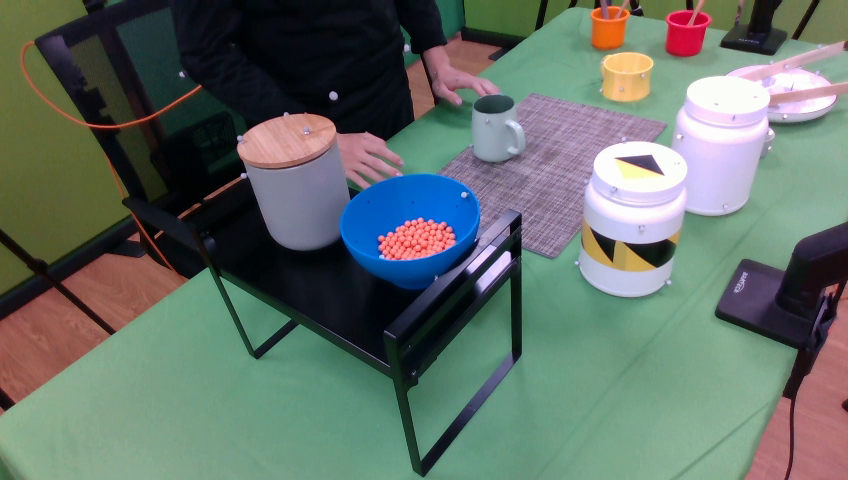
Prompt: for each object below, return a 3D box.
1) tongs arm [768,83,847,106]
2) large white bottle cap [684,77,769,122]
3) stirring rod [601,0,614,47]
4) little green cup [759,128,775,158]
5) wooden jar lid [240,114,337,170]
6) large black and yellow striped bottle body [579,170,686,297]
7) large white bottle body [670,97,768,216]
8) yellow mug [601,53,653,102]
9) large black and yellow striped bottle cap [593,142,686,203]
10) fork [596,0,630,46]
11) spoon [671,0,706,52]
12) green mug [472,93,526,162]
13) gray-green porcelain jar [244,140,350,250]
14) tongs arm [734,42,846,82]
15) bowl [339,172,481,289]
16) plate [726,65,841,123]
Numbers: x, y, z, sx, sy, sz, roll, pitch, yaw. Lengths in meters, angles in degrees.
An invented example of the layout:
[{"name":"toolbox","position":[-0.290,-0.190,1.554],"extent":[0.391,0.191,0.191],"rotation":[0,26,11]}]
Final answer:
[{"name":"tongs arm","position":[0.734,-0.280,1.133],"extent":[0.388,0.028,0.028],"rotation":[-9,46,-5]},{"name":"large white bottle cap","position":[0.448,-0.209,0.898],"extent":[0.115,0.018,0.114],"rotation":[-4,40,4]},{"name":"stirring rod","position":[0.439,-0.552,1.463],"extent":[0.014,0.006,0.175],"rotation":[-7,83,3]},{"name":"little green cup","position":[0.588,-0.175,1.080],"extent":[0.061,0.039,0.061],"rotation":[-5,40,5]},{"name":"wooden jar lid","position":[-0.149,-0.106,0.673],"extent":[0.108,0.021,0.108],"rotation":[-6,39,5]},{"name":"large black and yellow striped bottle body","position":[0.287,-0.027,0.842],"extent":[0.131,0.185,0.130],"rotation":[-4,41,4]},{"name":"large white bottle body","position":[0.458,-0.146,0.952],"extent":[0.130,0.185,0.130],"rotation":[-4,40,4]},{"name":"yellow mug","position":[0.423,-0.354,1.292],"extent":[0.100,0.064,0.129],"rotation":[-23,42,-16]},{"name":"large black and yellow striped bottle cap","position":[0.280,-0.090,0.786],"extent":[0.115,0.019,0.114],"rotation":[-5,41,5]},{"name":"fork","position":[0.481,-0.556,1.452],"extent":[0.028,0.019,0.207],"rotation":[40,103,38]},{"name":"spoon","position":[0.629,-0.520,1.394],"extent":[0.041,0.022,0.193],"rotation":[30,96,34]},{"name":"green mug","position":[0.143,-0.202,1.122],"extent":[0.093,0.105,0.124],"rotation":[-29,45,-23]},{"name":"gray-green porcelain jar","position":[-0.144,-0.060,0.714],"extent":[0.106,0.127,0.105],"rotation":[-4,41,4]},{"name":"tongs arm","position":[0.708,-0.331,1.193],"extent":[0.386,0.026,0.050],"rotation":[-18,45,-15]},{"name":"bowl","position":[-0.011,0.001,0.660],"extent":[0.151,0.077,0.150],"rotation":[-5,41,5]},{"name":"plate","position":[0.694,-0.282,1.189],"extent":[0.207,0.039,0.206],"rotation":[-4,40,4]}]
